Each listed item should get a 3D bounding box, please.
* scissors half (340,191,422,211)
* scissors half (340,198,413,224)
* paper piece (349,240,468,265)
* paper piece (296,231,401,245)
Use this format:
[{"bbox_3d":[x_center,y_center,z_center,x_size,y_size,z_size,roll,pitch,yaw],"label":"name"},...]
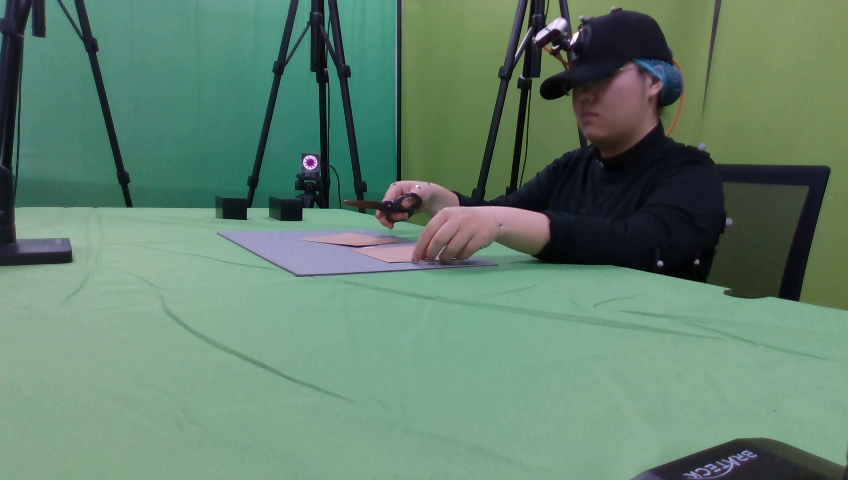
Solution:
[{"bbox_3d":[-0.071,-0.068,1.056,0.176,0.040,0.013,-3,43,-40],"label":"scissors half"},{"bbox_3d":[-0.082,-0.054,1.065,0.176,0.040,0.012,16,34,-50],"label":"scissors half"},{"bbox_3d":[-0.026,0.019,0.916,0.137,0.008,0.137,-7,13,-30],"label":"paper piece"},{"bbox_3d":[-0.127,-0.003,1.052,0.135,0.004,0.136,7,8,33],"label":"paper piece"}]
